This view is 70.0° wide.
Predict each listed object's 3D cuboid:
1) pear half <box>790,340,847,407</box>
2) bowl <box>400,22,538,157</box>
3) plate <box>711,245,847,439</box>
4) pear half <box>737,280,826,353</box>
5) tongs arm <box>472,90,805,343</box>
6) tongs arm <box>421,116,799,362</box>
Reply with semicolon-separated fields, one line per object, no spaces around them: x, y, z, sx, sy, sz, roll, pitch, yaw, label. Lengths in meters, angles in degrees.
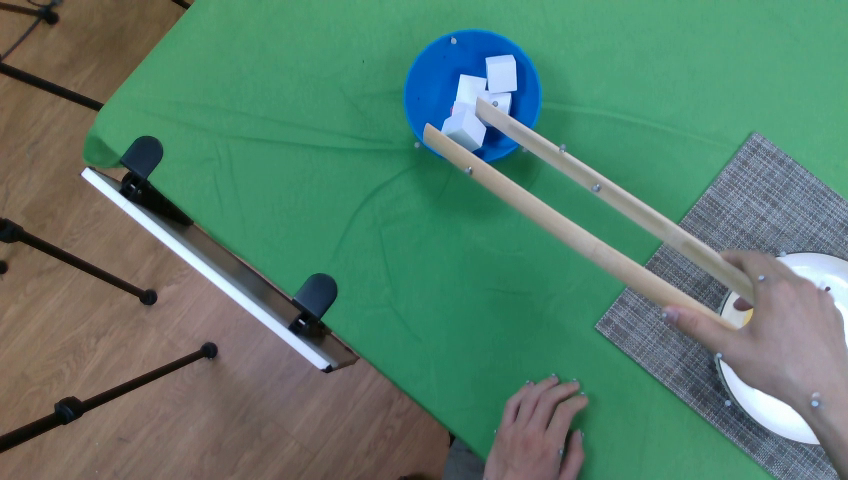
0.448;0.145;0.656;0.088;0.031;0.070;-18;87;5;pear half
0.049;-0.157;0.688;0.151;0.077;0.151;0;84;1;bowl
0.417;0.109;0.666;0.207;0.039;0.207;0;83;2;plate
0.403;0.075;0.656;0.110;0.056;0.076;-40;88;-6;pear half
0.173;-0.034;0.568;0.381;0.027;0.051;39;55;25;tongs arm
0.140;-0.013;0.546;0.384;0.028;0.028;37;50;24;tongs arm
